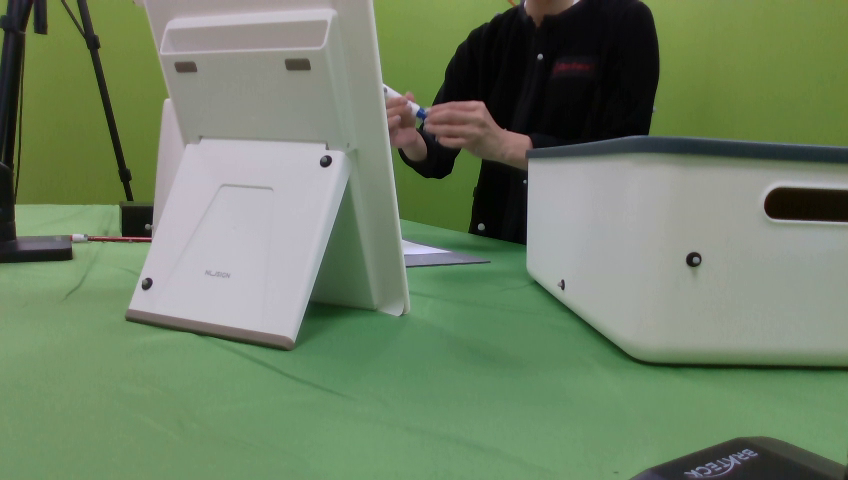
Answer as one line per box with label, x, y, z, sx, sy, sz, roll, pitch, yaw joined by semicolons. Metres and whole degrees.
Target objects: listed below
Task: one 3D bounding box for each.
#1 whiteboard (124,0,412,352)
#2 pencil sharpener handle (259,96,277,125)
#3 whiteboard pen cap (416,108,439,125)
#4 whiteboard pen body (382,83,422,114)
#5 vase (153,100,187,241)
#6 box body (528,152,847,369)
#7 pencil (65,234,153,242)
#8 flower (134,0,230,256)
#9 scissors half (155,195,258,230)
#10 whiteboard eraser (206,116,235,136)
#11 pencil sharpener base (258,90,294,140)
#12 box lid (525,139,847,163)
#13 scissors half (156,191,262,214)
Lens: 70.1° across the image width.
whiteboard;-0.151;-0.049;0.472;0.216;0.305;0.144;6;27;24
pencil sharpener handle;-0.373;-0.304;1.425;0.036;0.067;0.030;13;-1;-37
whiteboard pen cap;0.005;-0.186;0.907;0.033;0.018;0.018;31;16;15
whiteboard pen body;-0.045;-0.219;0.918;0.140;0.017;0.017;33;15;12
vase;-0.278;-0.066;0.736;0.098;0.200;0.098;2;9;0
box body;0.258;-0.005;0.591;0.254;0.160;0.363;2;7;-4
pencil;-0.429;-0.001;0.911;0.195;0.012;0.012;1;8;-19
flower;-0.282;-0.146;0.713;0.038;0.362;0.044;-23;23;-31
scissors half;-0.378;-0.051;1.059;0.176;0.040;0.012;20;22;-31
whiteboard eraser;-0.449;-0.251;1.335;0.056;0.042;0.112;1;7;-23
pencil sharpener base;-0.341;-0.285;1.388;0.062;0.107;0.076;-3;9;-36
box lid;0.261;-0.078;0.580;0.264;0.015;0.371;2;7;-4
scissors half;-0.371;-0.069;1.051;0.176;0.040;0.013;2;26;-24
